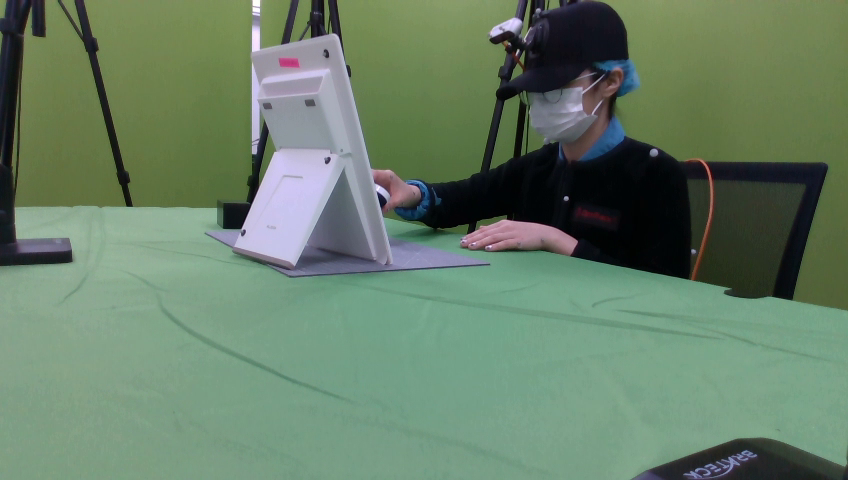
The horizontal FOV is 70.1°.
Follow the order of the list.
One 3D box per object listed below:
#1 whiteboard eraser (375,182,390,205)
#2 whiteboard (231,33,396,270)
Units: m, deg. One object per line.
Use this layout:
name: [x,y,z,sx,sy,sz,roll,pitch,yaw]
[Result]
whiteboard eraser: [-0.087,-0.074,1.016,0.041,0.019,0.101,37,-19,-12]
whiteboard: [-0.193,-0.094,0.805,0.144,0.305,0.216,-29,25,-35]
